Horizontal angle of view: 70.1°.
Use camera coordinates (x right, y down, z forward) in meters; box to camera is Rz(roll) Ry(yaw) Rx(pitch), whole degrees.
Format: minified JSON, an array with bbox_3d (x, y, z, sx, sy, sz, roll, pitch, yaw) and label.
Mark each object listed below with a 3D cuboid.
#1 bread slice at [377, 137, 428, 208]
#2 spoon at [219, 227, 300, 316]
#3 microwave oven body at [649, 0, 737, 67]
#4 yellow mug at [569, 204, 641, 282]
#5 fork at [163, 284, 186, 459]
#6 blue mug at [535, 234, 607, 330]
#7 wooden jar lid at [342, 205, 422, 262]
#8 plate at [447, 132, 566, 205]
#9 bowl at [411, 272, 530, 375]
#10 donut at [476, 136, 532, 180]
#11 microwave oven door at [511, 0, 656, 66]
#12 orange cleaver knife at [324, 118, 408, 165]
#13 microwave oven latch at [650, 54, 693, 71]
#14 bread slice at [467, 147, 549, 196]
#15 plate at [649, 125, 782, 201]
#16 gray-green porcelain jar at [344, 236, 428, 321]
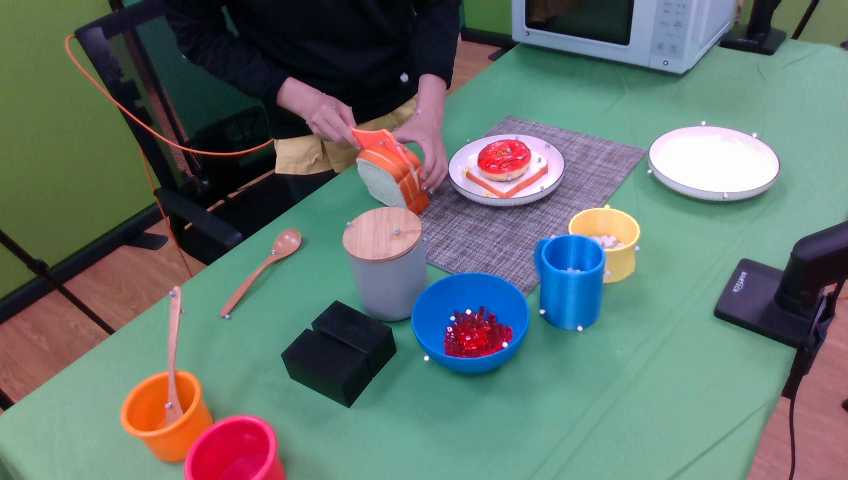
[{"bbox_3d":[-0.040,-0.119,1.018,0.106,0.135,0.018,36,66,22],"label":"bread slice"},{"bbox_3d":[-0.261,0.046,0.954,0.041,0.021,0.194,27,48,10],"label":"spoon"},{"bbox_3d":[0.475,-0.602,1.411,0.438,0.261,0.327,23,50,32],"label":"microwave oven body"},{"bbox_3d":[0.268,-0.005,0.904,0.099,0.064,0.130,7,42,15],"label":"yellow mug"},{"bbox_3d":[-0.302,0.157,0.733,0.028,0.019,0.207,-3,84,15],"label":"fork"},{"bbox_3d":[0.191,0.048,0.824,0.082,0.106,0.115,-26,44,-20],"label":"blue mug"},{"bbox_3d":[-0.055,-0.005,0.808,0.108,0.021,0.108,-6,40,6],"label":"wooden jar lid"},{"bbox_3d":[0.146,-0.124,1.076,0.209,0.038,0.208,-4,41,4],"label":"plate"},{"bbox_3d":[0.061,0.120,0.780,0.151,0.077,0.150,-4,40,4],"label":"bowl"},{"bbox_3d":[0.140,-0.146,1.059,0.099,0.048,0.098,-7,41,6],"label":"donut"},{"bbox_3d":[0.351,-0.540,1.349,0.353,0.245,0.039,24,50,31],"label":"microwave oven door"},{"bbox_3d":[-0.099,-0.166,1.010,0.012,0.077,0.209,-43,39,-21],"label":"orange cleaver knife"},{"bbox_3d":[0.531,-0.386,1.301,0.078,0.029,0.030,26,51,33],"label":"microwave oven latch"},{"bbox_3d":[0.156,-0.128,1.085,0.132,0.019,0.104,-35,49,-23],"label":"bread slice"},{"bbox_3d":[0.493,-0.127,1.036,0.207,0.039,0.206,-4,41,4],"label":"plate"},{"bbox_3d":[-0.049,0.042,0.849,0.106,0.127,0.105,-4,41,4],"label":"gray-green porcelain jar"}]
